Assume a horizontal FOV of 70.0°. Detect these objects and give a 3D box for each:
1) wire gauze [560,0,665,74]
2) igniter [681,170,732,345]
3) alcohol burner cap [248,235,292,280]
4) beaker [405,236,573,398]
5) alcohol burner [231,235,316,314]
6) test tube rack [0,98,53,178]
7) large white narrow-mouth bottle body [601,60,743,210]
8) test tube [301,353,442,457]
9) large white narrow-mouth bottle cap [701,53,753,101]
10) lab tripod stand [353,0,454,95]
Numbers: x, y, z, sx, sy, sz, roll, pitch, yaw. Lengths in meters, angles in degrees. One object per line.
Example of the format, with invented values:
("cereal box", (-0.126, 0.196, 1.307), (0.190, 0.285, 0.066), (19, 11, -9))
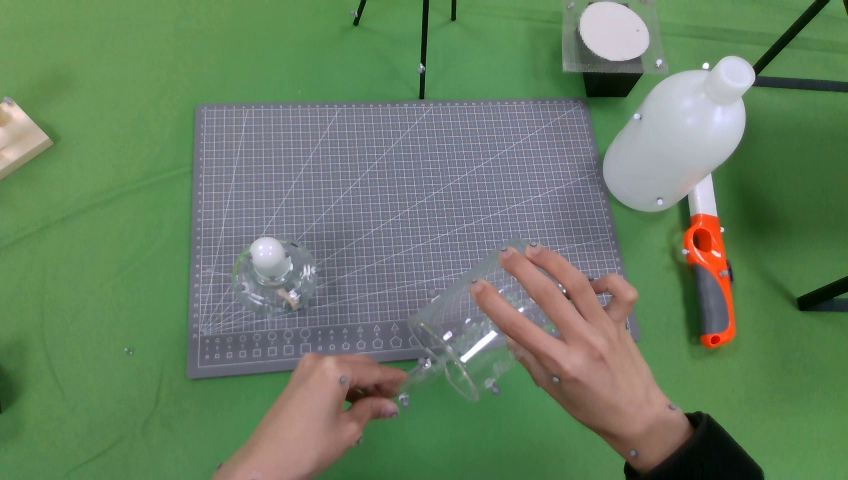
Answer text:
("wire gauze", (0.217, -0.247, 0.711), (0.122, 0.011, 0.124), (4, 68, -6))
("igniter", (0.310, -0.018, 0.677), (0.057, 0.025, 0.274), (10, 68, -17))
("alcohol burner cap", (-0.134, 0.014, 0.518), (0.034, 0.048, 0.033), (1, 74, -4))
("beaker", (0.048, 0.052, 0.430), (0.100, 0.084, 0.073), (-38, 77, -15))
("alcohol burner", (-0.138, 0.025, 0.552), (0.078, 0.119, 0.077), (3, 67, -8))
("test tube rack", (-0.487, -0.060, 0.557), (0.066, 0.085, 0.242), (43, 70, 10))
("large white narrow-mouth bottle body", (0.259, -0.112, 0.617), (0.102, 0.195, 0.101), (2, 68, -5))
("test tube", (-0.045, 0.133, 0.478), (0.150, 0.017, 0.017), (-39, 74, 22))
("large white narrow-mouth bottle cap", (0.268, -0.145, 0.538), (0.038, 0.024, 0.037), (2, 68, -6))
("lab tripod stand", (-0.010, -0.258, 0.671), (0.149, 0.132, 0.147), (3, 69, -8))
